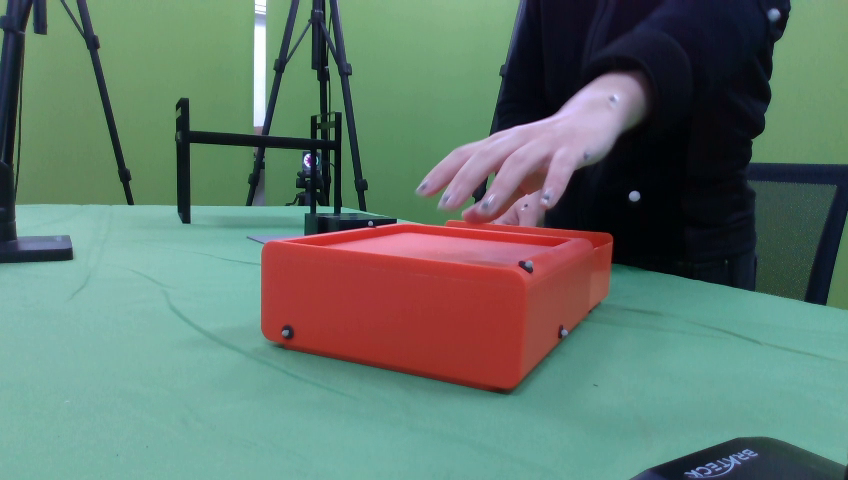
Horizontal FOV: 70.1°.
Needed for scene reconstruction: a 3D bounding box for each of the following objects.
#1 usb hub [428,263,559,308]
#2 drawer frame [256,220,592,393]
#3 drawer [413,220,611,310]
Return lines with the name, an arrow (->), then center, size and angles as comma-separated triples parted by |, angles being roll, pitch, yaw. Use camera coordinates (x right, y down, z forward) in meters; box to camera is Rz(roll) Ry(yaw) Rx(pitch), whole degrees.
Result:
usb hub -> 0.070, 0.045, 0.614 | 0.124, 0.025, 0.050 | 6, 10, 27
drawer frame -> 0.014, 0.037, 0.491 | 0.201, 0.082, 0.214 | 6, 9, 24
drawer -> 0.060, 0.028, 0.583 | 0.194, 0.073, 0.212 | 7, 8, 27
